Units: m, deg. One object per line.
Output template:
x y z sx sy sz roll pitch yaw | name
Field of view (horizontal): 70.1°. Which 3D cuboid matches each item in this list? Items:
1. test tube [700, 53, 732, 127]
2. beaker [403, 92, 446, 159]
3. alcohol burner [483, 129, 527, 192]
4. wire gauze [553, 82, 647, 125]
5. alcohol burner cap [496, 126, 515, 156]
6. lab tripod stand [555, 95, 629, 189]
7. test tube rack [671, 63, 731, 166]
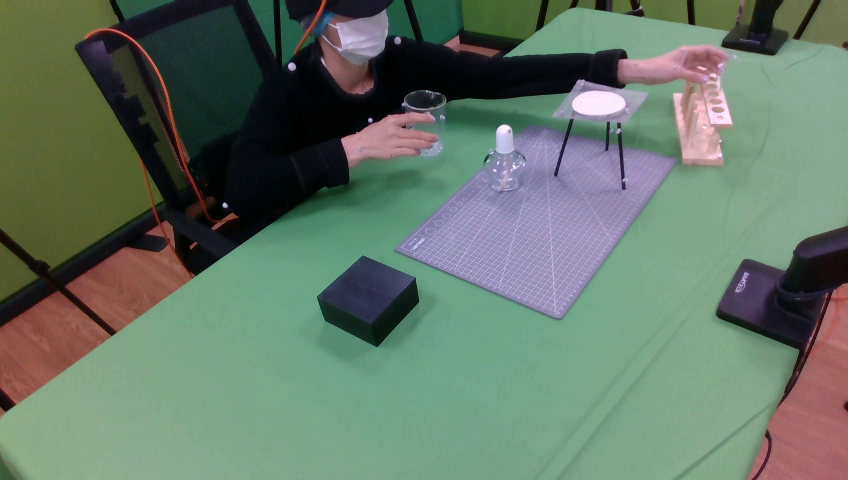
0.521 -0.265 1.081 0.017 0.151 0.017 -2 47 3 | test tube
0.003 -0.203 1.078 0.073 0.100 0.084 12 41 15 | beaker
0.141 -0.144 1.050 0.078 0.119 0.077 -4 42 4 | alcohol burner
0.293 -0.225 1.002 0.120 0.011 0.125 17 45 27 | wire gauze
0.138 -0.172 1.028 0.034 0.048 0.033 -5 37 5 | alcohol burner cap
0.301 -0.174 1.045 0.148 0.132 0.147 -5 38 5 | lab tripod stand
0.513 -0.241 1.132 0.066 0.085 0.242 4 41 14 | test tube rack
